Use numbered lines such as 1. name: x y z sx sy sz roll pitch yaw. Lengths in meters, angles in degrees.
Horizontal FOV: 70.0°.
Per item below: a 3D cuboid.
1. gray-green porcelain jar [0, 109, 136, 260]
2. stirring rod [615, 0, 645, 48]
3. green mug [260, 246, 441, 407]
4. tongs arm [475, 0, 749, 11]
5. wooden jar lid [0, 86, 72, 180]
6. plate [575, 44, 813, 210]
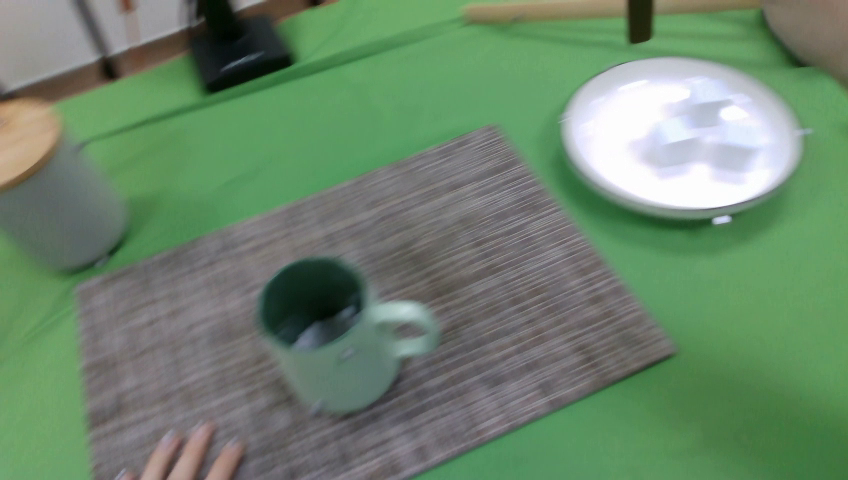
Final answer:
1. gray-green porcelain jar: -0.344 -0.051 0.565 0.106 0.128 0.105 -4 54 5
2. stirring rod: 0.086 -0.129 0.252 0.014 0.177 0.006 -13 72 15
3. green mug: -0.050 0.064 0.450 0.125 0.106 0.091 -4 53 5
4. tongs arm: 0.240 -0.277 0.672 0.385 0.028 0.028 6 49 23
5. wooden jar lid: -0.352 -0.088 0.516 0.108 0.021 0.107 -3 57 5
6. plate: 0.248 -0.106 0.577 0.207 0.039 0.205 -4 54 6
